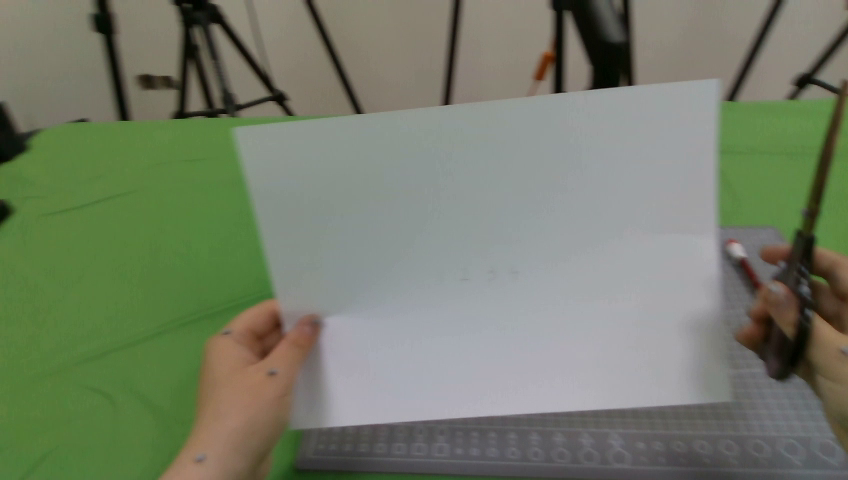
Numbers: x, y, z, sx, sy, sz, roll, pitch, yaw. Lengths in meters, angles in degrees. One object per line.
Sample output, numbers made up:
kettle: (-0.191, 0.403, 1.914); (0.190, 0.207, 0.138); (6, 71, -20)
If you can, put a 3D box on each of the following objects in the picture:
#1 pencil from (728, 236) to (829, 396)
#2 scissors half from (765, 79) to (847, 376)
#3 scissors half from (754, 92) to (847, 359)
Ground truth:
pencil: (0.309, 0.059, 0.536); (0.012, 0.012, 0.192); (-3, 39, 3)
scissors half: (0.225, -0.005, 0.351); (0.012, 0.175, 0.040); (11, 5, 16)
scissors half: (0.230, -0.007, 0.370); (0.013, 0.176, 0.040); (10, 21, 11)
